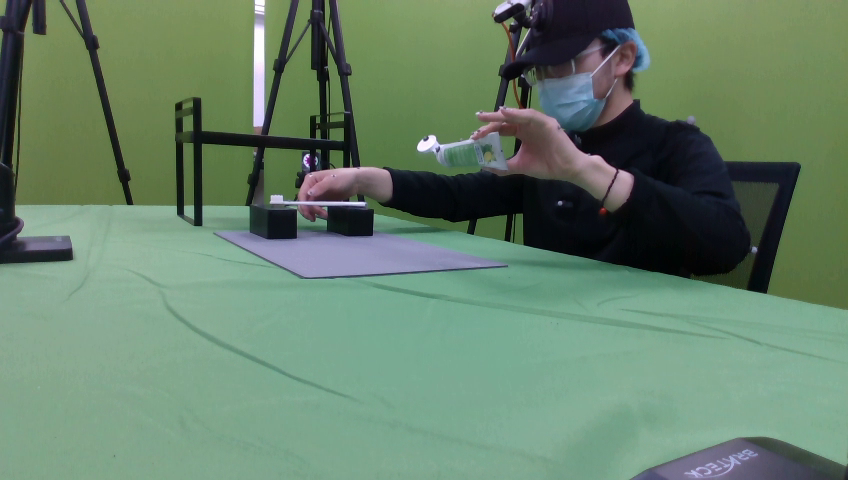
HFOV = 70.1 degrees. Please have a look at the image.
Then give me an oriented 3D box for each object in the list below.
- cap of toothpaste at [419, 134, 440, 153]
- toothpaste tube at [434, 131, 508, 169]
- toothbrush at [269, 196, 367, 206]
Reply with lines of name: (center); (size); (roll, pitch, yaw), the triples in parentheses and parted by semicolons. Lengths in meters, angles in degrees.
cap of toothpaste: (0.009, -0.150, 0.947); (0.037, 0.037, 0.011); (10, -29, 43)
toothpaste tube: (0.065, -0.129, 0.879); (0.034, 0.055, 0.164); (-32, 20, -24)
toothbrush: (-0.187, -0.069, 1.088); (0.183, 0.016, 0.014); (0, -4, -28)
